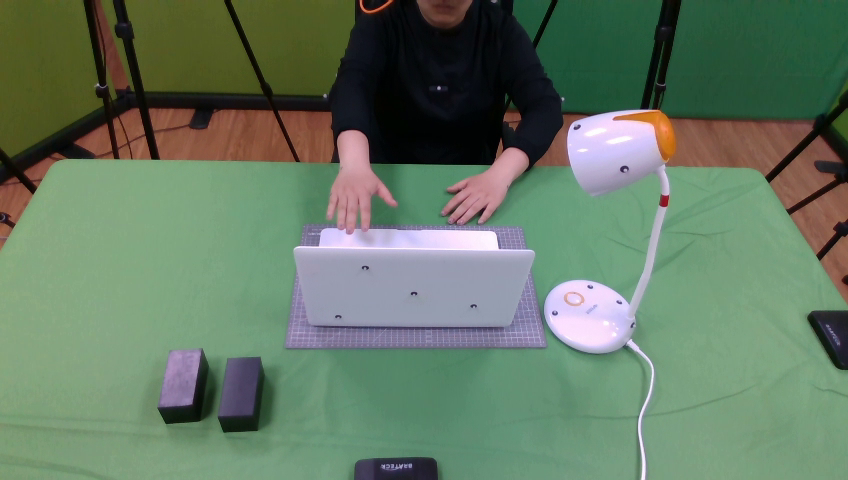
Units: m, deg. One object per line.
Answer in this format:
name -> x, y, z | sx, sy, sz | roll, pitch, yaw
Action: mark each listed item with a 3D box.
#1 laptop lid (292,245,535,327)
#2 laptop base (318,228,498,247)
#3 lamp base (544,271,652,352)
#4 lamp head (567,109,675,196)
laptop lid -> -0.018, 0.080, 0.956 | 0.357, 0.243, 0.013 | 2, 54, -5
laptop base -> -0.028, 0.066, 1.134 | 0.355, 0.023, 0.234 | 1, 43, -4
lamp base -> 0.310, 0.086, 1.029 | 0.178, 0.181, 0.160 | 32, 52, 21
lamp head -> 0.272, -0.123, 0.818 | 0.122, 0.113, 0.112 | -9, 35, 37
